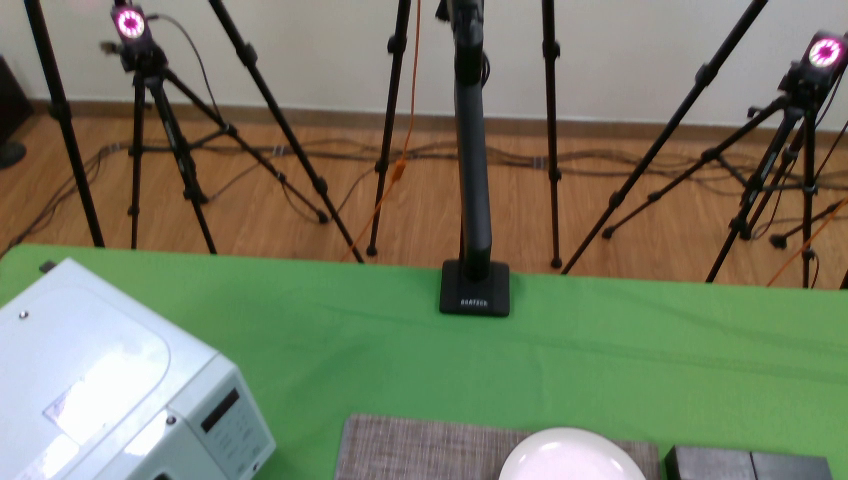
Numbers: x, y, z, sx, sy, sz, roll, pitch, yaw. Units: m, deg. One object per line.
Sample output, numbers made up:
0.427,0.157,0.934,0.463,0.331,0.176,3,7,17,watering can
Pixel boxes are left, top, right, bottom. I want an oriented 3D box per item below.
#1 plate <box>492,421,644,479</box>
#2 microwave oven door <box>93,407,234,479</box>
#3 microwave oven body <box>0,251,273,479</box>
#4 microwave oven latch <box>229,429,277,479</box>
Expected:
0.192,0.347,0.805,0.208,0.039,0.205,0,50,0,plate
-0.359,0.368,0.639,0.039,0.246,0.354,25,55,21,microwave oven door
-0.459,0.285,0.716,0.324,0.262,0.440,26,55,20,microwave oven body
-0.238,0.293,0.835,0.030,0.030,0.079,28,56,21,microwave oven latch
